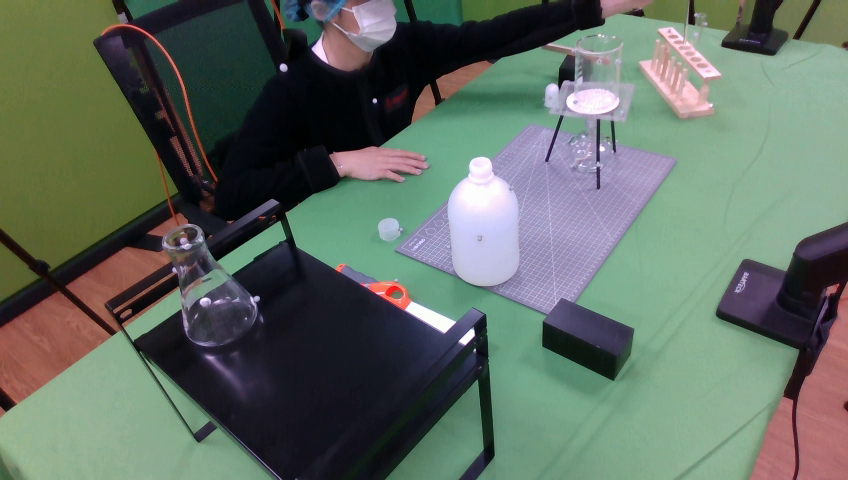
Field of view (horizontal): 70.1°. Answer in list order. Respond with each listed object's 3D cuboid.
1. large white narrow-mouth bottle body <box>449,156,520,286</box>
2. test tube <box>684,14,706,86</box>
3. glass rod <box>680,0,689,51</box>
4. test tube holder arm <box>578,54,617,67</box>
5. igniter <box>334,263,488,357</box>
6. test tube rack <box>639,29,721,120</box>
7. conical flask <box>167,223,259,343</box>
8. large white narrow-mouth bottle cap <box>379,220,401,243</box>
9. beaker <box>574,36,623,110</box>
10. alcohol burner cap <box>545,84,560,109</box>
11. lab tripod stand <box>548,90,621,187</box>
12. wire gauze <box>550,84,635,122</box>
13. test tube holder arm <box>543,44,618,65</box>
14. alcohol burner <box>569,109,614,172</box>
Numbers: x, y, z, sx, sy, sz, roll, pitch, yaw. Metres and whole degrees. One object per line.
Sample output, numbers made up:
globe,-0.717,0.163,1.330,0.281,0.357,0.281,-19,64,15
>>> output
large white narrow-mouth bottle body,0.086,-0.032,0.869,0.102,0.195,0.101,-4,40,4
test tube,0.541,-0.378,1.215,0.017,0.151,0.017,-2,44,3
glass rod,0.514,-0.465,1.181,0.008,0.200,0.008,-7,38,6
test tube holder arm,0.376,-0.393,1.314,0.087,0.015,0.010,25,51,32
igniter,-0.030,0.095,0.872,0.274,0.025,0.057,23,59,31
test tube rack,0.527,-0.351,1.262,0.067,0.085,0.241,-8,40,1
conical flask,-0.220,0.041,0.613,0.075,0.122,0.075,-5,40,4
large white narrow-mouth bottle cap,-0.057,-0.015,1.011,0.038,0.024,0.037,-4,40,4
beaker,0.285,-0.273,0.990,0.073,0.101,0.084,15,46,27
alcohol burner cap,0.274,-0.307,1.286,0.034,0.048,0.033,-5,41,5
lab tripod stand,0.289,-0.184,1.062,0.148,0.132,0.147,-6,41,6
wire gauze,0.285,-0.234,1.021,0.124,0.011,0.121,8,41,24
test tube holder arm,0.344,-0.412,1.340,0.177,0.015,0.013,24,51,31
alcohol burner,0.298,-0.181,1.073,0.078,0.119,0.077,-5,43,5
